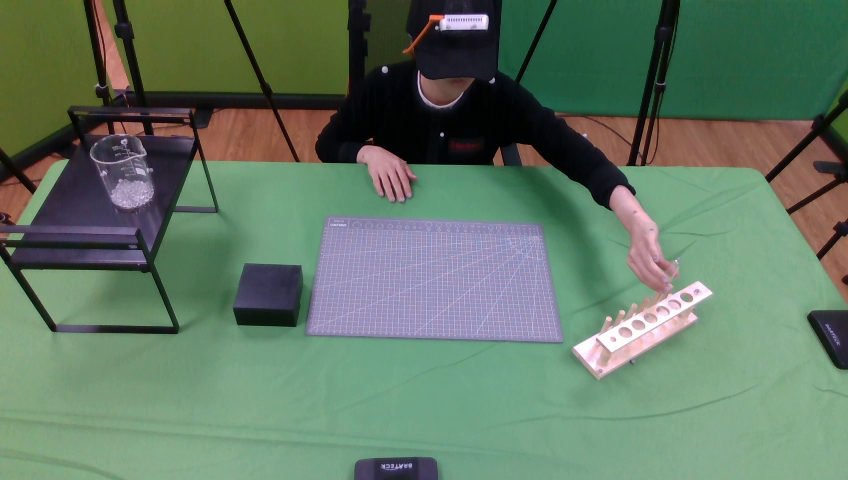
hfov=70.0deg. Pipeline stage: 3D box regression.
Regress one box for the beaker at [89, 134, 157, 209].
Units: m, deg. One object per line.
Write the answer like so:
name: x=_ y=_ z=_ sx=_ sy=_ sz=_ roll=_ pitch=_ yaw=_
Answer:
beaker: x=-0.470 y=-0.105 z=0.961 sx=0.084 sy=0.101 sz=0.073 roll=4 pitch=46 yaw=0

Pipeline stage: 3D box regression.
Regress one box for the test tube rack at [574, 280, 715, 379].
test tube rack: x=0.378 y=0.140 z=1.038 sx=0.242 sy=0.085 sz=0.066 roll=-22 pitch=51 yaw=-23

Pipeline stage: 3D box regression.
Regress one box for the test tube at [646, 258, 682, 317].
test tube: x=0.407 y=0.082 z=1.033 sx=0.017 sy=0.151 sz=0.017 roll=2 pitch=47 yaw=-2
